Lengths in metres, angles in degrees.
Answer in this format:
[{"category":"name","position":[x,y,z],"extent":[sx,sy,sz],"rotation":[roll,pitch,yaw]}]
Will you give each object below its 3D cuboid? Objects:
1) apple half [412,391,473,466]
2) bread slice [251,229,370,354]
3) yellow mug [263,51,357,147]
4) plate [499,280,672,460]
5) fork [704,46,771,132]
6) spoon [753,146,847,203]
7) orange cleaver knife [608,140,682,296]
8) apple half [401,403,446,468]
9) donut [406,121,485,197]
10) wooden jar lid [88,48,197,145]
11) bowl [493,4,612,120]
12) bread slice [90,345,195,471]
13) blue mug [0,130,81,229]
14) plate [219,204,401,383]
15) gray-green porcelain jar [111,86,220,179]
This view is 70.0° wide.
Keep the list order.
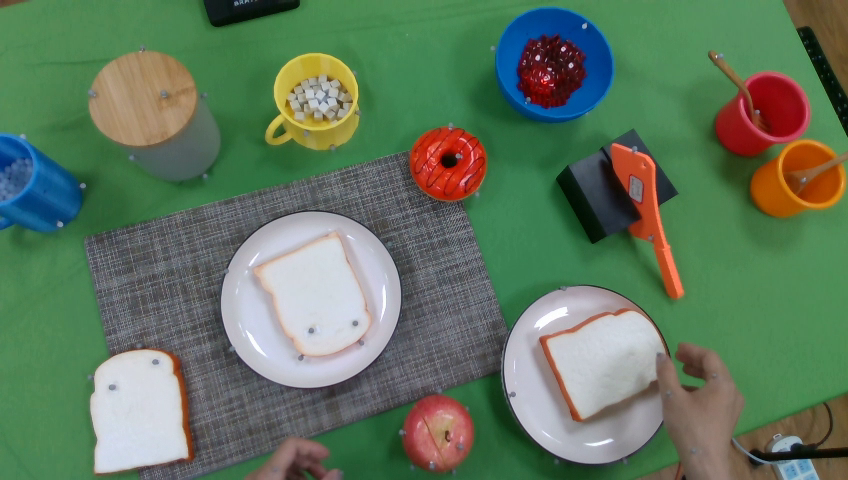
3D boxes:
[{"category":"apple half","position":[0.026,0.206,0.684],"extent":[0.053,0.075,0.080],"rotation":[-26,79,-15]},{"category":"bread slice","position":[-0.124,0.065,0.713],"extent":[0.107,0.018,0.134],"rotation":[-28,82,-10]},{"category":"yellow mug","position":[-0.145,-0.164,0.748],"extent":[0.131,0.064,0.100],"rotation":[-41,85,-12]},{"category":"plate","position":[0.191,0.154,0.729],"extent":[0.209,0.038,0.208],"rotation":[1,78,-5]},{"category":"fork","position":[0.401,-0.188,0.766],"extent":[0.209,0.018,0.028],"rotation":[26,71,-42]},{"category":"spoon","position":[0.513,-0.103,0.760],"extent":[0.022,0.193,0.041],"rotation":[-11,73,-54]},{"category":"orange cleaver knife","position":[0.274,-0.025,0.753],"extent":[0.012,0.076,0.213],"rotation":[-30,112,-16]},{"category":"apple half","position":[-0.008,0.224,0.675],"extent":[0.033,0.081,0.081],"rotation":[-25,81,-15]},{"category":"donut","position":[0.027,-0.101,0.760],"extent":[0.099,0.048,0.098],"rotation":[1,79,-6]},{"category":"wooden jar lid","position":[-0.292,-0.148,0.635],"extent":[0.108,0.021,0.108],"rotation":[1,76,-4]},{"category":"bowl","position":[0.156,-0.216,0.784],"extent":[0.151,0.077,0.150],"rotation":[1,78,-5]},{"category":"bread slice","position":[-0.320,0.184,0.678],"extent":[0.105,0.019,0.131],"rotation":[-9,80,-8]},{"category":"blue mug","position":[-0.460,-0.054,0.672],"extent":[0.116,0.106,0.082],"rotation":[-43,84,-12]},{"category":"plate","position":[-0.131,0.062,0.712],"extent":[0.208,0.039,0.206],"rotation":[1,78,-5]},{"category":"gray-green porcelain jar","position":[-0.298,-0.134,0.695],"extent":[0.106,0.127,0.105],"rotation":[1,77,-5]}]
